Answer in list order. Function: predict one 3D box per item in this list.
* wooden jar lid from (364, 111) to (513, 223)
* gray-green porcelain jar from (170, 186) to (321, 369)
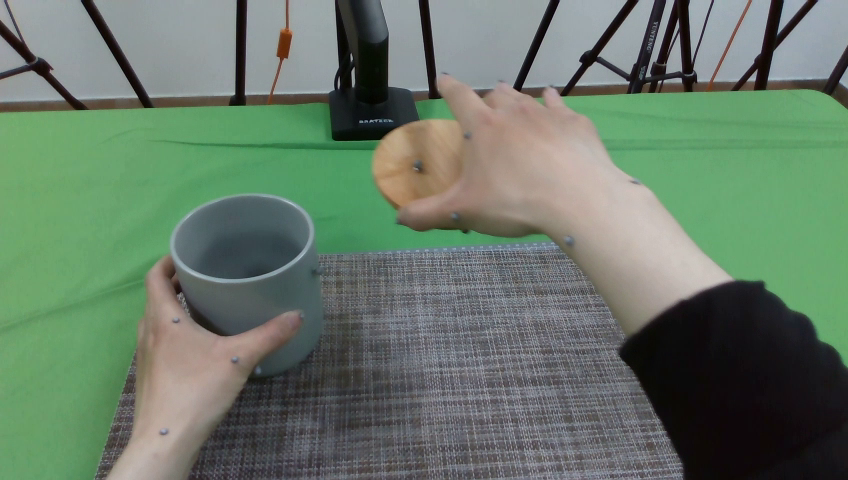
[{"bbox_3d":[0.010,-0.053,0.441,0.108,0.021,0.107,5,51,-6],"label":"wooden jar lid"},{"bbox_3d":[-0.140,0.036,0.500,0.106,0.127,0.105,3,42,-2],"label":"gray-green porcelain jar"}]
